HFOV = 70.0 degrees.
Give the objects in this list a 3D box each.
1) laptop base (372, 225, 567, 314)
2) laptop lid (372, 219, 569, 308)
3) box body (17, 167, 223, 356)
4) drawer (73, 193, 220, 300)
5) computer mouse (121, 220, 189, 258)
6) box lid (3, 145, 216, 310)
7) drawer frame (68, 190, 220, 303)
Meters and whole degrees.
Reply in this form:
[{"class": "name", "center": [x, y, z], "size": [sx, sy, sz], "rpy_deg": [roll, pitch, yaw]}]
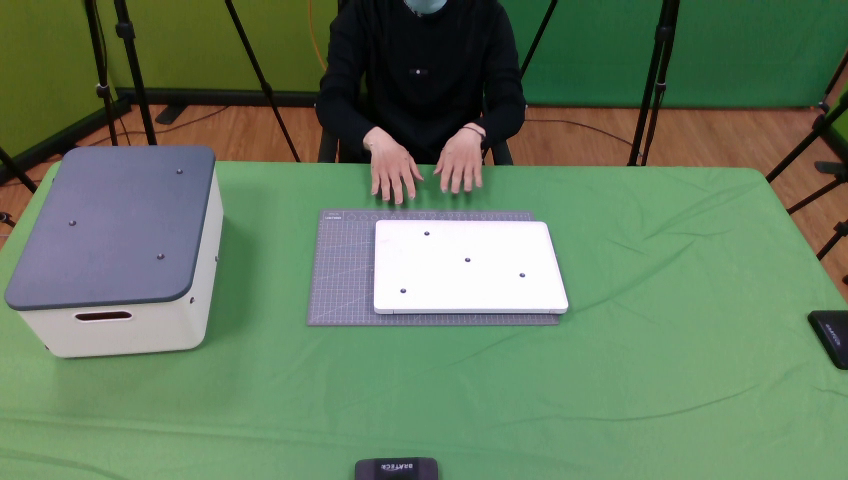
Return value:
[{"class": "laptop base", "center": [0.080, 0.049, 1.158], "size": [0.355, 0.023, 0.234], "rpy_deg": [0, 43, -4]}, {"class": "laptop lid", "center": [0.081, 0.039, 1.152], "size": [0.357, 0.013, 0.240], "rpy_deg": [2, 44, -3]}, {"class": "box body", "center": [-0.499, 0.012, 1.051], "size": [0.254, 0.161, 0.361], "rpy_deg": [-3, 47, -7]}, {"class": "drawer", "center": [-0.494, 0.009, 1.103], "size": [0.195, 0.073, 0.210], "rpy_deg": [2, 45, -6]}, {"class": "computer mouse", "center": [-0.511, -0.003, 1.152], "size": [0.117, 0.041, 0.062], "rpy_deg": [12, 42, -3]}, {"class": "box lid", "center": [-0.495, -0.040, 0.998], "size": [0.263, 0.015, 0.369], "rpy_deg": [-2, 47, -8]}, {"class": "drawer frame", "center": [-0.495, 0.007, 1.100], "size": [0.202, 0.083, 0.212], "rpy_deg": [-1, 48, -4]}]
